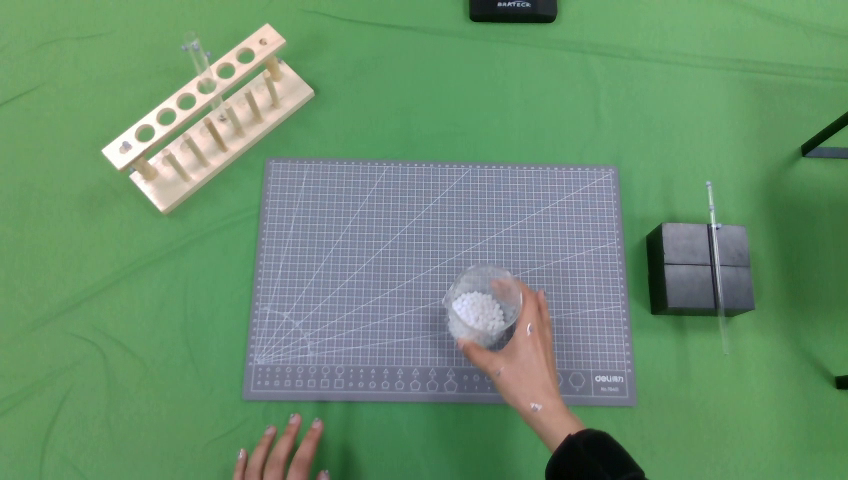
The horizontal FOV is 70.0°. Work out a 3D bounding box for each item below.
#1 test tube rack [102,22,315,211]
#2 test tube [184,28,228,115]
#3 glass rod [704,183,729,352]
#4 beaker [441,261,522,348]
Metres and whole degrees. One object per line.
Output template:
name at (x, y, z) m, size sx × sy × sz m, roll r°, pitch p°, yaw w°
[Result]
test tube rack at (-0.252, -0.149, 0.736) m, size 0.242 × 0.085 × 0.066 m, roll -43°, pitch 79°, yaw -12°
test tube at (-0.248, -0.188, 0.696) m, size 0.017 × 0.151 × 0.017 m, roll 2°, pitch 70°, yaw -5°
glass rod at (0.334, 0.027, 0.693) m, size 0.008 × 0.008 × 0.198 m, roll 1°, pitch 74°, yaw -1°
beaker at (0.057, 0.075, 0.659) m, size 0.084 × 0.101 × 0.073 m, roll -5°, pitch 69°, yaw -5°
